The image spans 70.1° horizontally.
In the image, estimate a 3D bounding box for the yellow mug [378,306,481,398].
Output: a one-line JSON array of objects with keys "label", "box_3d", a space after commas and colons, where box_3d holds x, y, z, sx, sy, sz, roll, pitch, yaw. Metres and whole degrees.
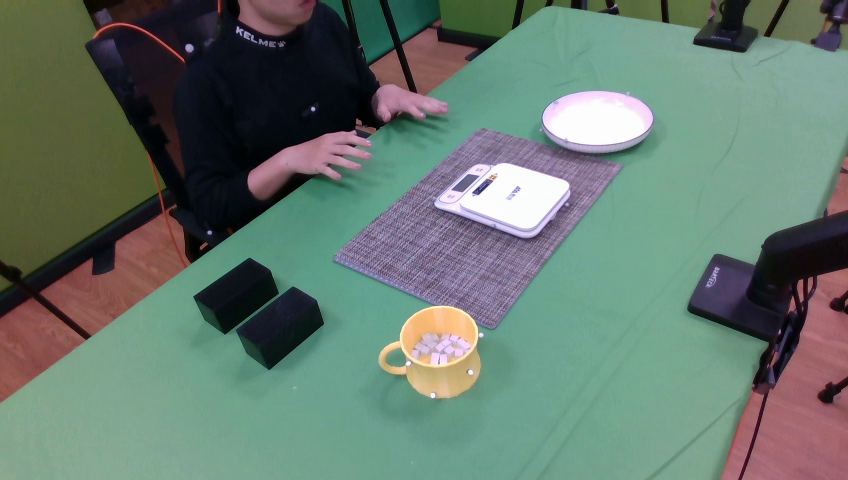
[{"label": "yellow mug", "box_3d": [0.006, 0.144, 0.766, 0.131, 0.064, 0.099, -10, 40, -2]}]

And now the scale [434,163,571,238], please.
[{"label": "scale", "box_3d": [0.132, -0.075, 1.025, 0.199, 0.032, 0.149, 22, 48, 30]}]

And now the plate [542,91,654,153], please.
[{"label": "plate", "box_3d": [0.334, -0.224, 1.171, 0.209, 0.038, 0.208, -4, 40, 4]}]
